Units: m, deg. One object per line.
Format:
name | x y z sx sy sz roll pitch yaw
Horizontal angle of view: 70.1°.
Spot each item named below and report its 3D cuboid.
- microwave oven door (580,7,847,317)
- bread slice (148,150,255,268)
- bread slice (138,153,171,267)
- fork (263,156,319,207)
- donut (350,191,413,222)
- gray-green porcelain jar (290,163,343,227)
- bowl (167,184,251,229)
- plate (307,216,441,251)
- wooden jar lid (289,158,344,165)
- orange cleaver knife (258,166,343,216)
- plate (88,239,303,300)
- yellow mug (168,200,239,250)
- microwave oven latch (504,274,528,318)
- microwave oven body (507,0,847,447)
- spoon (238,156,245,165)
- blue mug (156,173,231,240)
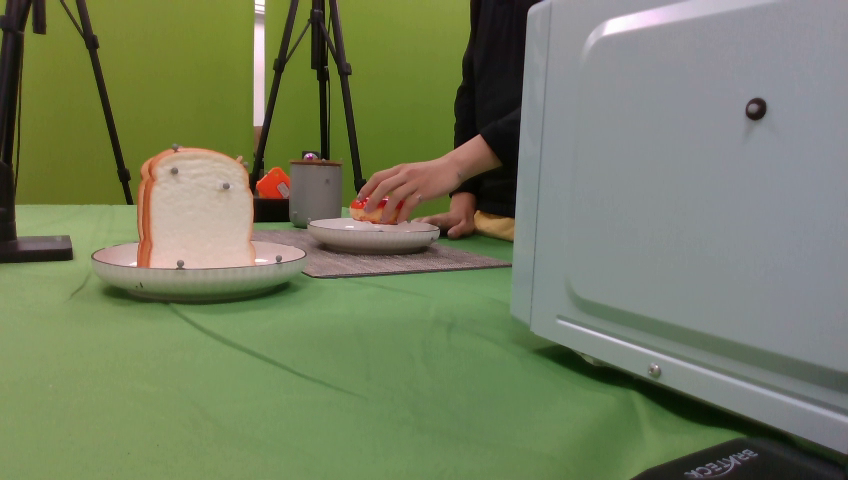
microwave oven door | 0.294 -0.067 0.570 0.358 0.243 0.039 -3 9 -31
bread slice | -0.230 -0.024 0.618 0.107 0.134 0.018 -8 10 -34
bread slice | -0.256 -0.029 0.660 0.105 0.131 0.019 -1 0 -36
fork | -0.331 -0.144 1.505 0.207 0.018 0.028 -42 -20 22
donut | -0.067 -0.053 0.963 0.099 0.048 0.099 0 11 0
gray-green porcelain jar | -0.217 -0.091 1.221 0.106 0.126 0.106 2 7 0
bowl | -0.408 -0.064 1.154 0.151 0.077 0.151 2 8 0
plate | -0.078 -0.011 0.954 0.209 0.038 0.209 2 7 0
wooden jar lid | -0.215 -0.153 1.212 0.108 0.020 0.108 2 5 0
orange cleaver knife | -0.276 -0.090 1.369 0.212 0.077 0.012 33 -11 -34
plate | -0.233 0.029 0.636 0.208 0.039 0.207 2 7 0
yellow mug | -0.319 -0.023 0.904 0.130 0.064 0.100 9 11 36
microwave oven latch | 0.100 0.041 0.471 0.079 0.029 0.030 -1 8 -28
microwave oven body | 0.331 -0.042 0.425 0.444 0.260 0.324 -2 8 -31
spoon | -0.477 -0.145 1.492 0.041 0.022 0.193 -1 51 13
blue mug | -0.381 -0.057 1.004 0.117 0.106 0.082 0 8 -12
